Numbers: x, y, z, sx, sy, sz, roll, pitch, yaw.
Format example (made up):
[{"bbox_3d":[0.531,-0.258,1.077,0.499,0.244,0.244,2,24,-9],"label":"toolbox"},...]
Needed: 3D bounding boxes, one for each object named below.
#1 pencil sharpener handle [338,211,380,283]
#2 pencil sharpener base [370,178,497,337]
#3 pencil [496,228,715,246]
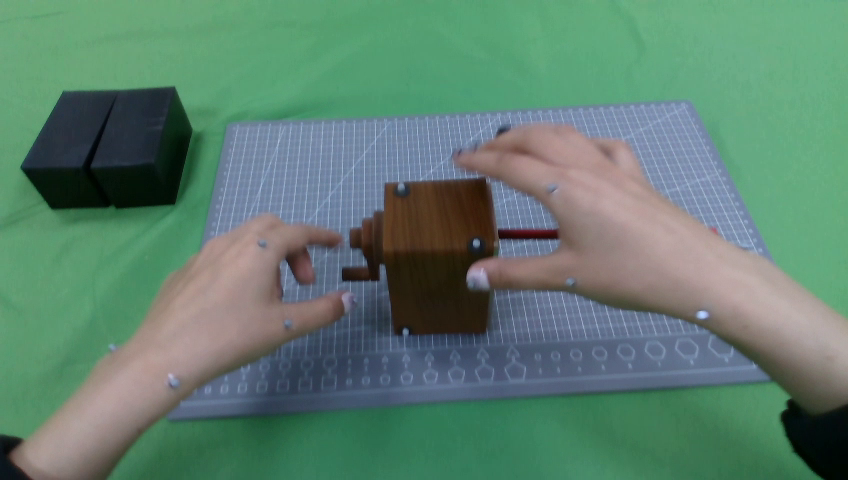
[{"bbox_3d":[-0.045,0.009,0.402,0.030,0.068,0.035,-2,54,0],"label":"pencil sharpener handle"},{"bbox_3d":[0.006,0.016,0.411,0.077,0.108,0.061,-2,51,0],"label":"pencil sharpener base"},{"bbox_3d":[0.092,-0.002,0.393,0.194,0.012,0.012,0,51,-2],"label":"pencil"}]
